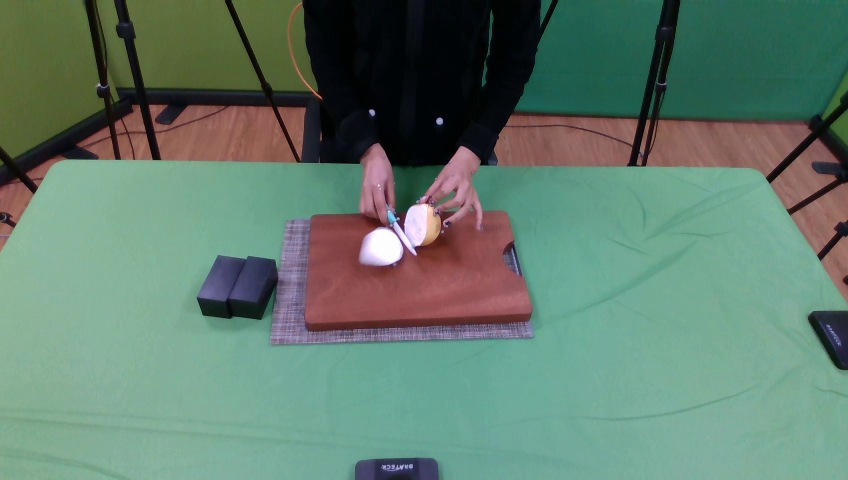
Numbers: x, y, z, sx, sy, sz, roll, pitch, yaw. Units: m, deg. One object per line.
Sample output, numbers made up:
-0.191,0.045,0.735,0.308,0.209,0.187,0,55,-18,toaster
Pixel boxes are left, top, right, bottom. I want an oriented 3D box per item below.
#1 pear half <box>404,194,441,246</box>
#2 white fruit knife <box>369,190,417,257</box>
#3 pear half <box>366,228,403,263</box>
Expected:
0.007,-0.044,1.140,0.056,0.110,0.076,-15,54,-36,pear half
-0.059,-0.036,1.166,0.016,0.027,0.206,-18,48,-22,white fruit knife
-0.080,0.016,1.123,0.088,0.031,0.070,-23,74,-44,pear half
